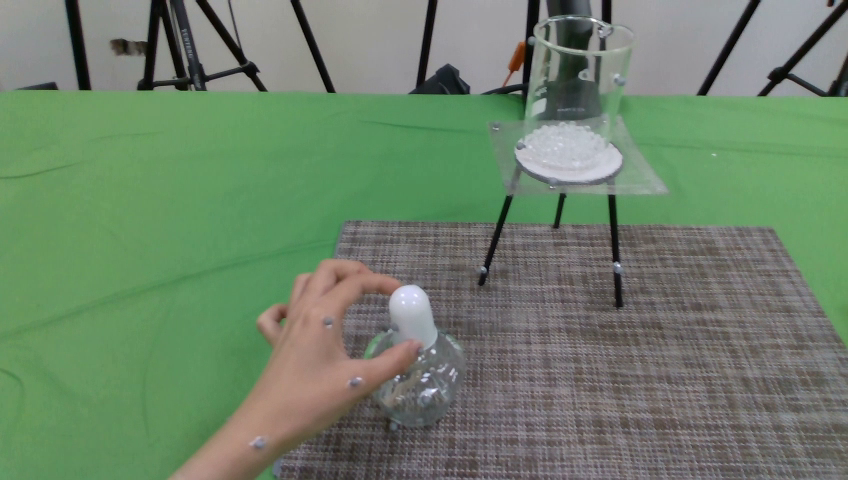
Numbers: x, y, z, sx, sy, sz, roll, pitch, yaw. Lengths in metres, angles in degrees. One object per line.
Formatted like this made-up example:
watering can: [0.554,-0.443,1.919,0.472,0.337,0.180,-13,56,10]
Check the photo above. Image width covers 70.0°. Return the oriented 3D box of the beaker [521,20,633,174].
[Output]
beaker: [0.116,-0.111,0.475,0.073,0.101,0.084,25,45,27]

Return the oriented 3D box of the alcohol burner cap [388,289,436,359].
alcohol burner cap: [-0.010,0.055,0.415,0.034,0.048,0.033,-4,38,3]

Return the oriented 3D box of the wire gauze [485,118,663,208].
wire gauze: [0.118,-0.067,0.499,0.125,0.011,0.120,1,41,-4]

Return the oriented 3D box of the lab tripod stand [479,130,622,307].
lab tripod stand: [0.124,-0.019,0.544,0.148,0.132,0.147,1,38,0]

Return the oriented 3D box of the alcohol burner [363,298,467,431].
alcohol burner: [-0.007,0.082,0.437,0.078,0.120,0.077,0,40,0]
